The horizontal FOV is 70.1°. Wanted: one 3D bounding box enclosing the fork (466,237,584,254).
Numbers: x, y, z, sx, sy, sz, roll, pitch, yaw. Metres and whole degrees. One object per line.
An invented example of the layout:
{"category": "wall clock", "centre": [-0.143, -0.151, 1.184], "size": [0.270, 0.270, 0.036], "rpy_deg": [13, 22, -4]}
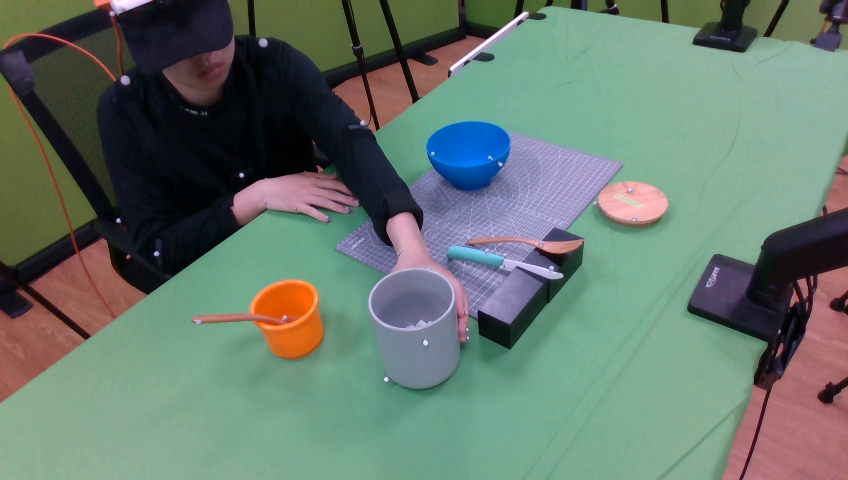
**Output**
{"category": "fork", "centre": [0.142, 0.005, 0.894], "size": [0.205, 0.019, 0.028], "rpy_deg": [4, 44, 41]}

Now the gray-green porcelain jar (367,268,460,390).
{"category": "gray-green porcelain jar", "centre": [-0.010, 0.116, 0.754], "size": [0.106, 0.127, 0.105], "rpy_deg": [-4, 41, 4]}

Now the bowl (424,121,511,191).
{"category": "bowl", "centre": [0.080, -0.140, 1.074], "size": [0.151, 0.077, 0.150], "rpy_deg": [-4, 40, 4]}

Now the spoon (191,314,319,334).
{"category": "spoon", "centre": [-0.212, 0.105, 0.780], "size": [0.041, 0.195, 0.021], "rpy_deg": [29, 97, 37]}

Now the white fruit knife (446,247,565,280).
{"category": "white fruit knife", "centre": [0.111, 0.033, 0.867], "size": [0.205, 0.027, 0.016], "rpy_deg": [11, 42, 40]}

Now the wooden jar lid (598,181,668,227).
{"category": "wooden jar lid", "centre": [0.340, -0.057, 0.988], "size": [0.108, 0.021, 0.108], "rpy_deg": [-5, 41, 5]}
